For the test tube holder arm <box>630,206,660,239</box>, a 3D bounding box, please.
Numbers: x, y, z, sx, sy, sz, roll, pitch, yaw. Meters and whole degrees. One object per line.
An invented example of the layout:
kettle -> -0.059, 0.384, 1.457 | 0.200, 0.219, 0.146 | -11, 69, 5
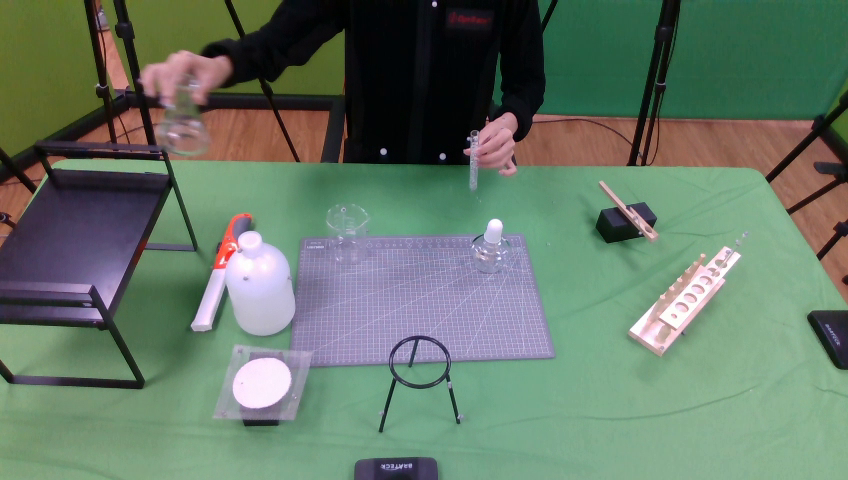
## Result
test tube holder arm -> 0.431, -0.034, 1.192 | 0.010, 0.015, 0.087 | -23, 51, -12

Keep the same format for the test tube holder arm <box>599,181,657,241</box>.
test tube holder arm -> 0.407, -0.062, 1.219 | 0.013, 0.015, 0.177 | -23, 51, -13

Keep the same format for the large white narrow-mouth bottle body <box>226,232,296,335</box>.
large white narrow-mouth bottle body -> -0.270, 0.065, 0.995 | 0.102, 0.195, 0.101 | 2, 46, -2

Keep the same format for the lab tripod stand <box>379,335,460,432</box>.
lab tripod stand -> -0.010, 0.214, 0.911 | 0.148, 0.132, 0.147 | 1, 45, 0

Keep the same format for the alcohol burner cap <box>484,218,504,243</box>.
alcohol burner cap -> 0.130, -0.021, 1.106 | 0.034, 0.048, 0.033 | 3, 51, -4

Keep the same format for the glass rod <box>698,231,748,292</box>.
glass rod -> 0.514, 0.044, 1.051 | 0.008, 0.200, 0.008 | 1, 55, -1

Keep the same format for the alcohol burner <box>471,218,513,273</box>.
alcohol burner -> 0.128, 0.005, 1.132 | 0.078, 0.120, 0.077 | 0, 47, 0

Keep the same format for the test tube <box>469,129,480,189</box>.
test tube -> 0.090, -0.141, 1.083 | 0.017, 0.151, 0.017 | -1, 56, 2

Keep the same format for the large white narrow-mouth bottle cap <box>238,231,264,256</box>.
large white narrow-mouth bottle cap -> -0.266, 0.006, 0.932 | 0.038, 0.024, 0.037 | 2, 46, -2

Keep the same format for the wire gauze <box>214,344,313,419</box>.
wire gauze -> -0.241, 0.213, 0.915 | 0.121, 0.011, 0.124 | 5, 46, 1

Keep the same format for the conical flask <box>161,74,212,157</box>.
conical flask -> -0.362, -0.194, 0.931 | 0.075, 0.122, 0.075 | 13, 45, -13

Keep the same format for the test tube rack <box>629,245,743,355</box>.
test tube rack -> 0.474, 0.095, 1.091 | 0.242, 0.085, 0.066 | -34, 56, -31

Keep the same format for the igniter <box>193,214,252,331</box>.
igniter -> -0.368, 0.050, 1.119 | 0.057, 0.025, 0.275 | -3, 46, 8

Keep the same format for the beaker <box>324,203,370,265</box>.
beaker -> -0.142, -0.009, 1.137 | 0.084, 0.101, 0.073 | -3, 47, -7
